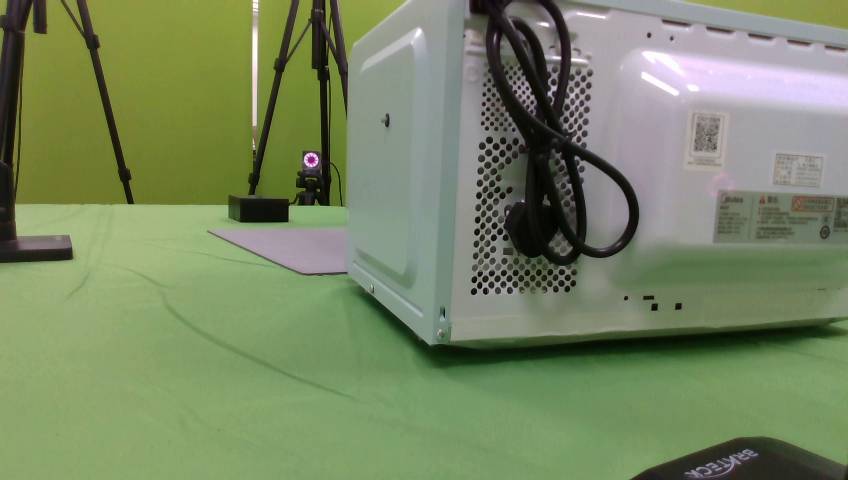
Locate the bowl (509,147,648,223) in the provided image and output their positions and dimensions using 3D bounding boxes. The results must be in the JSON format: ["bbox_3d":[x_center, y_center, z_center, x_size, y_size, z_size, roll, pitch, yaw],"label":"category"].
[{"bbox_3d":[0.168,-0.062,0.678,0.151,0.077,0.151,2,10,0],"label":"bowl"}]

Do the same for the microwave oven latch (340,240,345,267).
[{"bbox_3d":[-0.052,0.016,0.662,0.079,0.029,0.030,1,7,-18],"label":"microwave oven latch"}]

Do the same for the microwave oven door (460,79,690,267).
[{"bbox_3d":[0.201,-0.104,0.897,0.354,0.243,0.039,9,10,43],"label":"microwave oven door"}]

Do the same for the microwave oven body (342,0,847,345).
[{"bbox_3d":[0.169,-0.060,0.573,0.444,0.260,0.324,1,7,-20],"label":"microwave oven body"}]
